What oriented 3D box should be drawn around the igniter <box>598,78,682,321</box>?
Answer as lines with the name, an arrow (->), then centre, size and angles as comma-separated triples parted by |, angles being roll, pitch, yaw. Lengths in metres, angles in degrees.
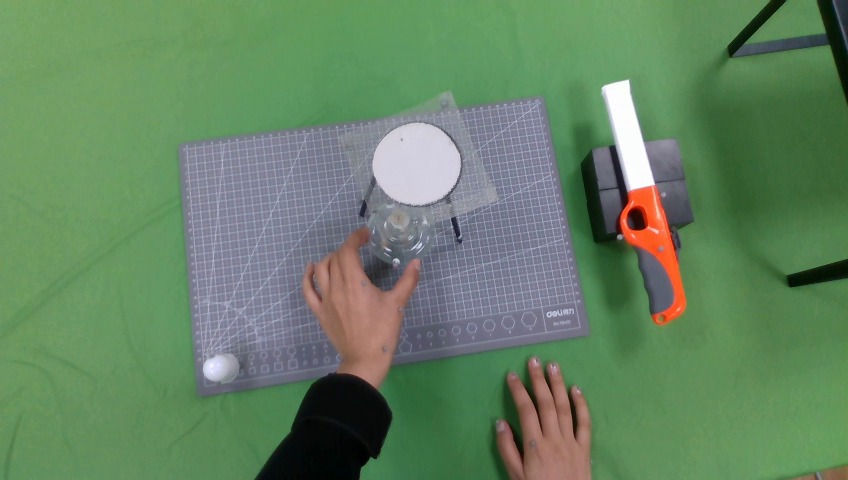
igniter -> 0.239, -0.049, 0.675 | 0.057, 0.025, 0.275 | -11, 79, 8

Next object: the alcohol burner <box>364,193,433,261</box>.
alcohol burner -> -0.029, -0.018, 0.662 | 0.078, 0.119, 0.077 | 0, 81, -2

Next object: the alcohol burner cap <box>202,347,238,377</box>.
alcohol burner cap -> -0.226, 0.133, 0.664 | 0.034, 0.048, 0.033 | 0, 78, -2

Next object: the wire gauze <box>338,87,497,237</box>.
wire gauze -> -0.008, -0.077, 0.595 | 0.125, 0.011, 0.121 | -21, 80, -5

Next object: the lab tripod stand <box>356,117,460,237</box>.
lab tripod stand -> -0.010, -0.071, 0.662 | 0.148, 0.132, 0.147 | 0, 78, 0
